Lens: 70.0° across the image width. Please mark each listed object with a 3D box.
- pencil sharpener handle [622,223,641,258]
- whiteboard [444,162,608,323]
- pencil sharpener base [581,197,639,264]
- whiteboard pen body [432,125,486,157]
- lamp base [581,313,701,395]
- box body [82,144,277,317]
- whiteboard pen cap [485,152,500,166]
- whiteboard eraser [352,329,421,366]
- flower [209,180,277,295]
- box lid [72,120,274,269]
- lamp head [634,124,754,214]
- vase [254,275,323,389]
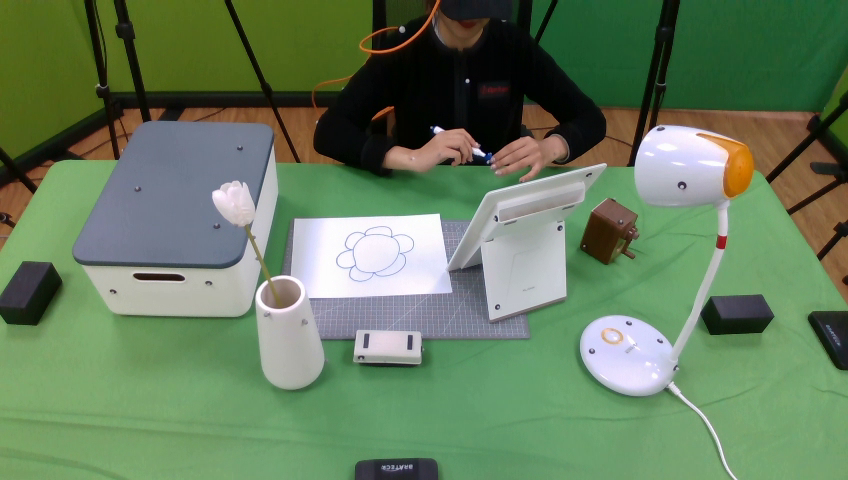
[{"bbox_3d":[0.397,0.002,1.146,0.030,0.068,0.036,37,46,27],"label":"pencil sharpener handle"},{"bbox_3d":[0.186,0.025,1.029,0.217,0.306,0.143,-14,68,-17],"label":"whiteboard"},{"bbox_3d":[0.362,-0.017,1.179,0.076,0.107,0.061,37,54,27],"label":"pencil sharpener base"},{"bbox_3d":[0.077,-0.209,1.291,0.140,0.017,0.017,31,51,15],"label":"whiteboard pen body"},{"bbox_3d":[0.361,0.144,0.973,0.178,0.181,0.160,34,53,23],"label":"lamp base"},{"bbox_3d":[-0.421,-0.041,1.108,0.254,0.161,0.361,2,46,-3],"label":"box body"},{"bbox_3d":[0.143,-0.171,1.274,0.033,0.018,0.018,38,51,-1],"label":"whiteboard pen cap"},{"bbox_3d":[-0.061,0.179,1.005,0.113,0.042,0.055,3,48,-3],"label":"whiteboard eraser"},{"bbox_3d":[-0.217,0.075,0.871,0.044,0.363,0.038,-29,36,-19],"label":"flower"},{"bbox_3d":[-0.417,-0.094,1.056,0.263,0.015,0.369,1,47,-3],"label":"box lid"},{"bbox_3d":[0.351,-0.089,0.776,0.112,0.113,0.122,-30,30,-28],"label":"lamp head"},{"bbox_3d":[-0.209,0.143,0.921,0.098,0.201,0.097,1,46,-1],"label":"vase"}]
